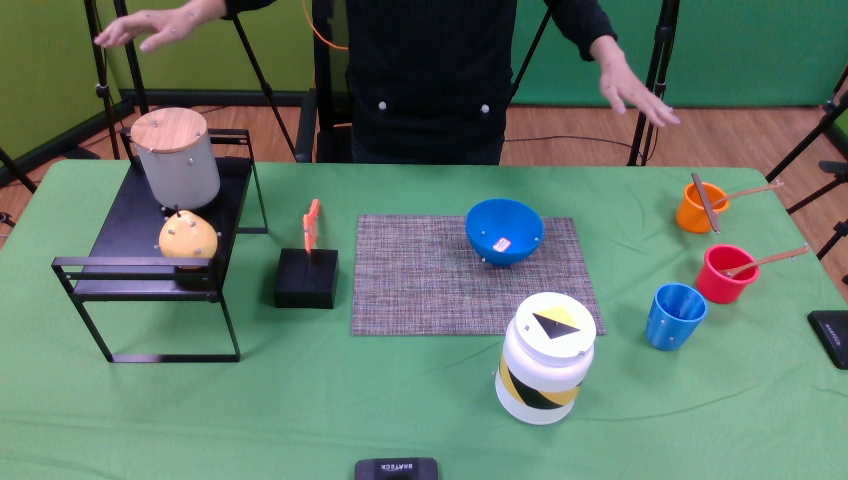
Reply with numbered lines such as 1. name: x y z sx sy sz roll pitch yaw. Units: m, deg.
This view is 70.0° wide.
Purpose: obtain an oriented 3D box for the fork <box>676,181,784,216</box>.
1. fork: 0.618 -0.084 1.235 0.207 0.019 0.028 -23 21 38

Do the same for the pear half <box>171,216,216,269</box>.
1. pear half: -0.323 0.007 0.867 0.031 0.088 0.070 25 46 20

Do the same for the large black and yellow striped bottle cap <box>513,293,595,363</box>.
1. large black and yellow striped bottle cap: 0.186 0.123 0.863 0.115 0.019 0.114 3 45 -3

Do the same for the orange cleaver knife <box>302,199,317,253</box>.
1. orange cleaver knife: -0.219 -0.031 1.168 0.012 0.077 0.210 -5 17 -3

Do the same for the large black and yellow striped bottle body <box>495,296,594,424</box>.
1. large black and yellow striped bottle body: 0.183 0.182 0.923 0.131 0.185 0.130 2 46 -2

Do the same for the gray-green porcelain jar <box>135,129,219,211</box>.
1. gray-green porcelain jar: -0.386 -0.118 0.959 0.106 0.127 0.105 2 46 -2

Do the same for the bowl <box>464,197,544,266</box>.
1. bowl: 0.149 -0.004 1.168 0.151 0.077 0.150 2 46 -2

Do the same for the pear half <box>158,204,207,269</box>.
1. pear half: -0.352 -0.015 0.873 0.056 0.110 0.076 25 45 19

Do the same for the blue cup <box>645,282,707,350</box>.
1. blue cup: 0.425 0.136 1.042 0.092 0.101 0.092 1 44 -1

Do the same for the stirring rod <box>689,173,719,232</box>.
1. stirring rod: 0.566 -0.079 1.225 0.014 0.006 0.175 2 45 2

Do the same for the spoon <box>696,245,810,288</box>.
1. spoon: 0.601 0.047 1.114 0.193 0.022 0.041 -27 36 33

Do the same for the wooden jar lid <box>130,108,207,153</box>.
1. wooden jar lid: -0.383 -0.162 0.914 0.108 0.021 0.107 4 46 -4
